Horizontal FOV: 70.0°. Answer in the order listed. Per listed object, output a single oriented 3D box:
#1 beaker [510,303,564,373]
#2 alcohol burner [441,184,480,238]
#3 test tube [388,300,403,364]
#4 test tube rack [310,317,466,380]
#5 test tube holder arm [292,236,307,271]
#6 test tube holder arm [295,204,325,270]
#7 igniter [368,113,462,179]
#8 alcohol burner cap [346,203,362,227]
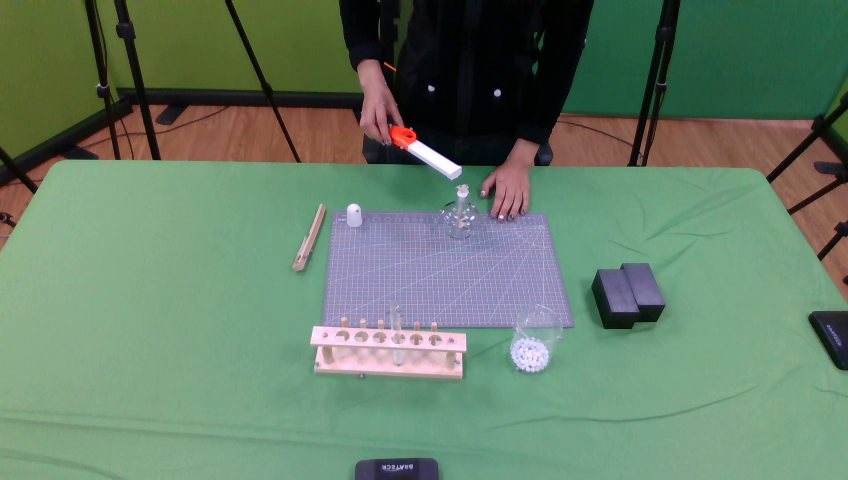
[{"bbox_3d":[0.182,0.164,1.000,0.074,0.101,0.083,2,46,-1],"label":"beaker"},{"bbox_3d":[0.073,-0.061,1.195,0.078,0.120,0.077,1,47,-1],"label":"alcohol burner"},{"bbox_3d":[-0.044,0.146,0.942,0.017,0.151,0.017,-1,44,1],"label":"test tube"},{"bbox_3d":[-0.056,0.171,0.987,0.242,0.085,0.066,3,45,-1],"label":"test tube rack"},{"bbox_3d":[-0.234,0.024,1.163,0.010,0.015,0.087,-18,38,29],"label":"test tube holder arm"},{"bbox_3d":[-0.222,-0.009,1.192,0.013,0.015,0.177,-19,37,27],"label":"test tube holder arm"},{"bbox_3d":[-0.027,-0.196,1.226,0.057,0.025,0.275,-33,51,-26],"label":"igniter"},{"bbox_3d":[-0.141,-0.053,1.222,0.034,0.048,0.033,2,47,-2],"label":"alcohol burner cap"}]
